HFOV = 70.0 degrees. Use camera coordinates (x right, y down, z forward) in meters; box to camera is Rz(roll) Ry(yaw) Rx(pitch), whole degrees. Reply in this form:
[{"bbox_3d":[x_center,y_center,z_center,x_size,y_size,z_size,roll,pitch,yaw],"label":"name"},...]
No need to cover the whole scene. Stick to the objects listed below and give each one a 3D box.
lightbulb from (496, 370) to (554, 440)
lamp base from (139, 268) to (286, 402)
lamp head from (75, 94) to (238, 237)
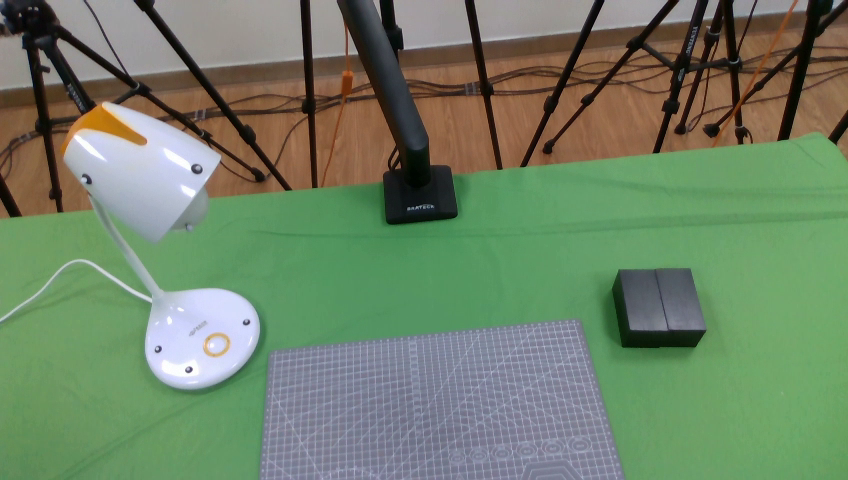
[{"bbox_3d":[0.125,0.209,0.783,0.059,0.060,0.106,-20,39,-12],"label":"lightbulb"},{"bbox_3d":[-0.292,0.106,0.799,0.179,0.182,0.159,7,54,11],"label":"lamp base"},{"bbox_3d":[-0.256,-0.075,0.569,0.124,0.112,0.111,28,51,-22],"label":"lamp head"}]
